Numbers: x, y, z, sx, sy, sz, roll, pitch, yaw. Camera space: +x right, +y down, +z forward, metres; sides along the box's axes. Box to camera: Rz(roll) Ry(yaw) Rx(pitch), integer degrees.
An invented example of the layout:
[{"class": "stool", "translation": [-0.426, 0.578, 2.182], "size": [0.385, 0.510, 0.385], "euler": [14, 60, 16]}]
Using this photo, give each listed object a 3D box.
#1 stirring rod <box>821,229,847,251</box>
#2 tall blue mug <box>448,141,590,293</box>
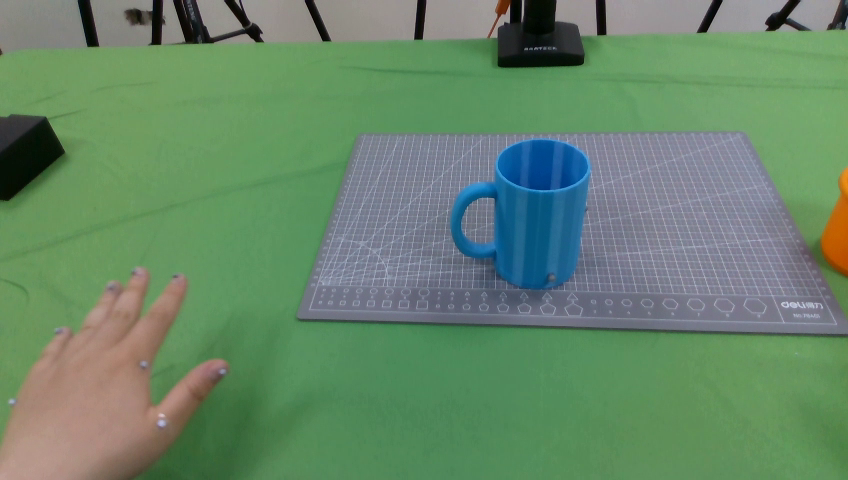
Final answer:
[{"class": "stirring rod", "translation": [0.415, -0.031, 0.488], "size": [0.176, 0.006, 0.014], "euler": [-32, 29, 38]}, {"class": "tall blue mug", "translation": [0.083, -0.013, 0.513], "size": [0.107, 0.109, 0.077], "euler": [-26, 47, -22]}]
